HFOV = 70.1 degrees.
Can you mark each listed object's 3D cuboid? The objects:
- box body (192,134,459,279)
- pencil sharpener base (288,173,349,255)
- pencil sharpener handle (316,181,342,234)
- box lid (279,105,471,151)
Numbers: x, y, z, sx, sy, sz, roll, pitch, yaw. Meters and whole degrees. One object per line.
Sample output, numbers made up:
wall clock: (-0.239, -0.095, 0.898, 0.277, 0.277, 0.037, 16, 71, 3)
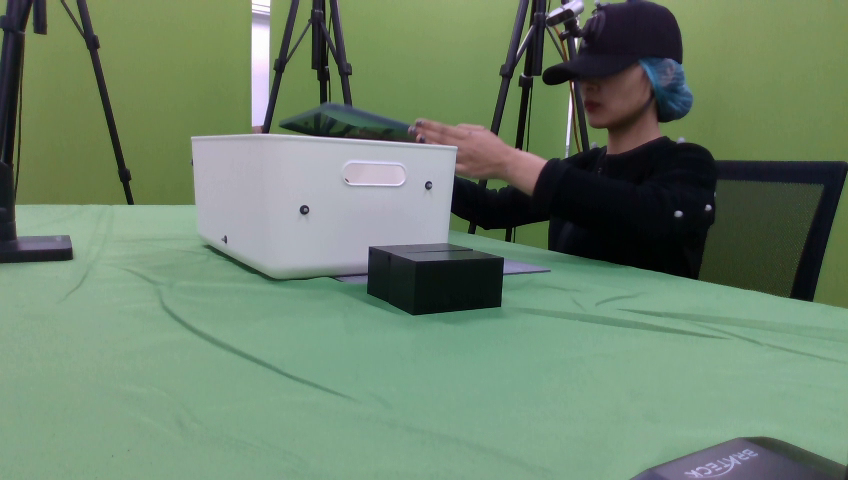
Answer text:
box body: (-0.154, -0.059, 0.840, 0.255, 0.160, 0.362, -2, 9, -33)
pencil sharpener base: (-0.145, -0.037, 0.832, 0.062, 0.107, 0.076, -1, 8, -31)
pencil sharpener handle: (-0.119, -0.042, 0.787, 0.036, 0.067, 0.030, 1, 7, -31)
box lid: (-0.104, -0.190, 1.108, 0.265, 0.015, 0.370, 10, 1, -26)
